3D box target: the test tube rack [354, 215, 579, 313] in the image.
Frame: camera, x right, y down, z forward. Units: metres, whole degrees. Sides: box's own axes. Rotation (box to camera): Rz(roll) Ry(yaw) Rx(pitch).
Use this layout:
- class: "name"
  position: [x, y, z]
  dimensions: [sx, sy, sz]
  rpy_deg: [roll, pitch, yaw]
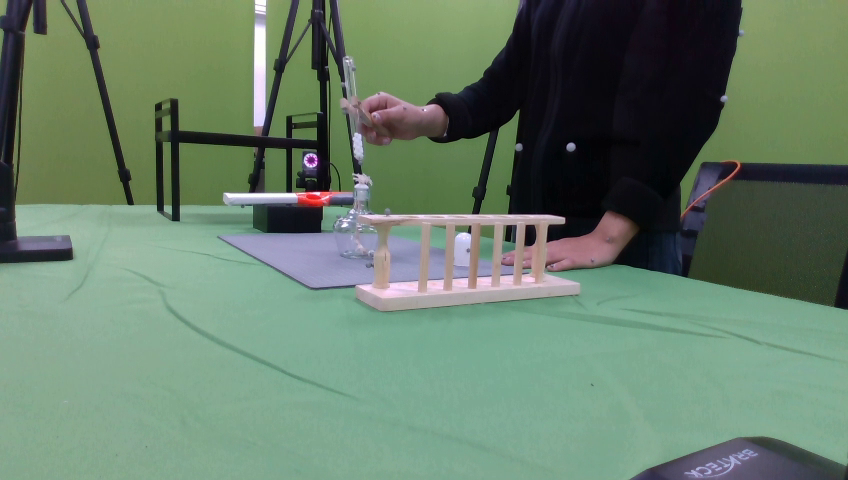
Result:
- class: "test tube rack"
  position: [0.053, 0.019, 0.635]
  dimensions: [0.243, 0.085, 0.066]
  rpy_deg: [-1, 8, -29]

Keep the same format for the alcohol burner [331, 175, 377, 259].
- class: "alcohol burner"
  position: [-0.090, -0.033, 0.855]
  dimensions: [0.078, 0.119, 0.078]
  rpy_deg: [4, 7, 0]

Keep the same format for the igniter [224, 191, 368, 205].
- class: "igniter"
  position: [-0.237, -0.079, 1.157]
  dimensions: [0.278, 0.025, 0.057]
  rpy_deg: [-2, 21, -31]

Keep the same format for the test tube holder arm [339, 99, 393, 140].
- class: "test tube holder arm"
  position: [-0.084, -0.181, 0.919]
  dimensions: [0.013, 0.015, 0.179]
  rpy_deg: [-8, -8, 16]

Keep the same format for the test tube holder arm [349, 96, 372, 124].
- class: "test tube holder arm"
  position: [-0.090, -0.186, 0.874]
  dimensions: [0.010, 0.015, 0.088]
  rpy_deg: [-7, -8, 9]

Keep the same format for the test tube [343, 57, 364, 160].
- class: "test tube"
  position: [-0.100, -0.186, 0.853]
  dimensions: [0.017, 0.150, 0.017]
  rpy_deg: [-7, -7, 0]

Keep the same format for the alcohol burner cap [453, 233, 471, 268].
- class: "alcohol burner cap"
  position: [0.053, 0.014, 0.823]
  dimensions: [0.034, 0.048, 0.034]
  rpy_deg: [3, 6, 0]
